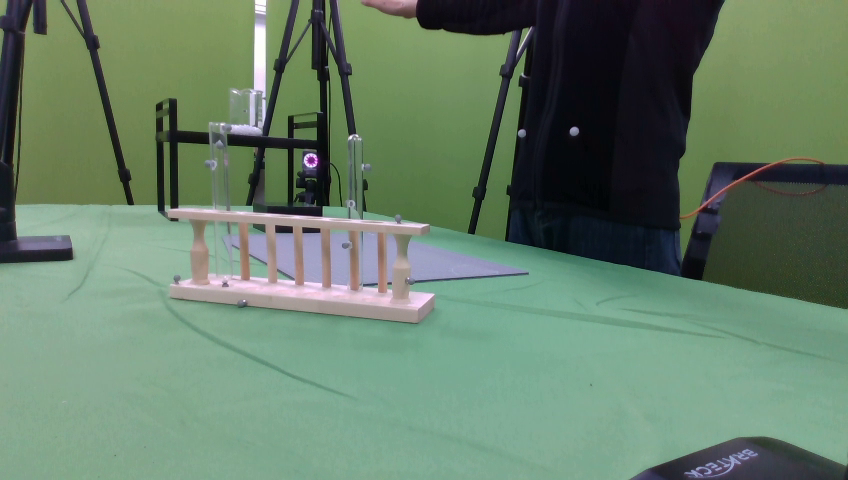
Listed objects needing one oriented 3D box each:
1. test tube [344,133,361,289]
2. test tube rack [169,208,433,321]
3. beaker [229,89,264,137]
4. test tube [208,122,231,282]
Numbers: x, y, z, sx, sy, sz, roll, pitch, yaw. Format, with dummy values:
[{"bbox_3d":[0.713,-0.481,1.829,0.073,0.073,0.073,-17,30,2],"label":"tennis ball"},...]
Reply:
[{"bbox_3d":[-0.068,-0.025,0.575,0.017,0.150,0.017,1,10,0],"label":"test tube"},{"bbox_3d":[-0.115,0.018,0.574,0.242,0.085,0.067,4,8,14],"label":"test tube rack"},{"bbox_3d":[-0.391,-0.277,1.329,0.074,0.100,0.084,2,8,-1],"label":"beaker"},{"bbox_3d":[-0.191,-0.034,0.565,0.017,0.150,0.017,1,11,0],"label":"test tube"}]
